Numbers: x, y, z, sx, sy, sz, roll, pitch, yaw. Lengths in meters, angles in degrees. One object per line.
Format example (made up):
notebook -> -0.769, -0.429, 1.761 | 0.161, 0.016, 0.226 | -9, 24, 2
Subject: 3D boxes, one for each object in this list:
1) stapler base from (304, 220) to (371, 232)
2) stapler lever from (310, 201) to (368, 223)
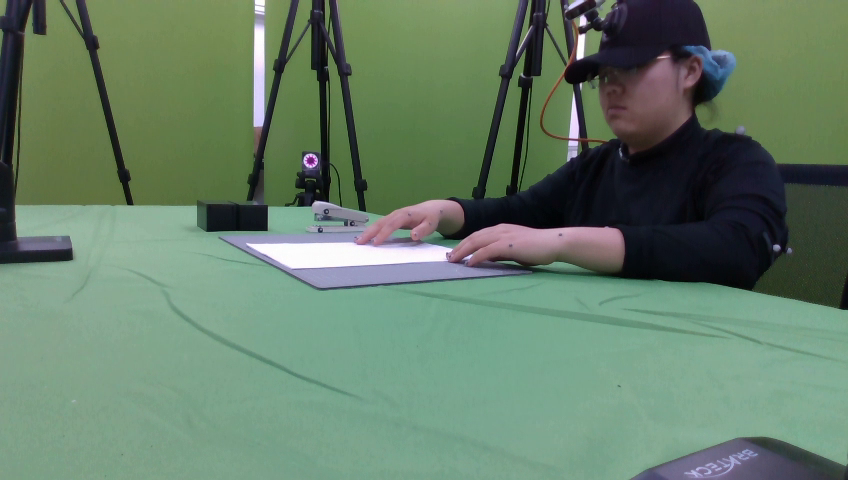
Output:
stapler base -> -0.169, -0.029, 1.186 | 0.131, 0.024, 0.041 | 0, 9, -33
stapler lever -> -0.166, -0.054, 1.185 | 0.119, 0.040, 0.026 | 0, 9, -33
